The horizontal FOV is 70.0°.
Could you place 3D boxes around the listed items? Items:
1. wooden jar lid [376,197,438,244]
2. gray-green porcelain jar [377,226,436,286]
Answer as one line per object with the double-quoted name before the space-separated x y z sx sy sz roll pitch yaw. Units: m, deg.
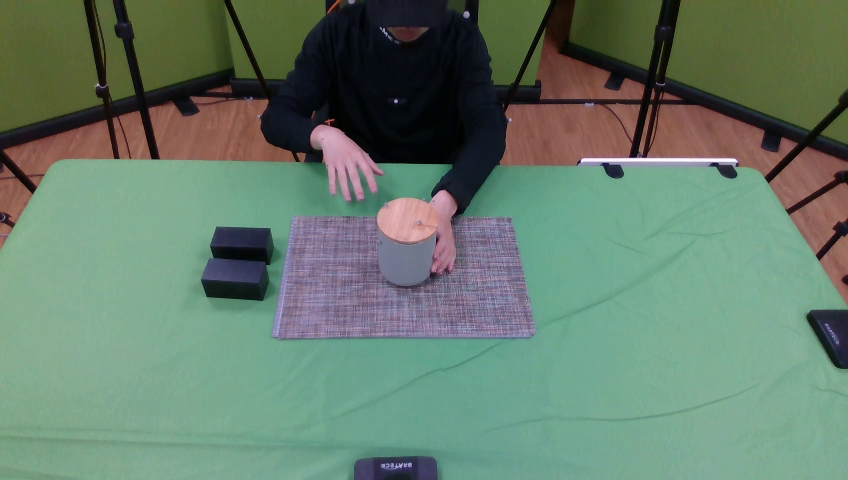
"wooden jar lid" -0.029 -0.031 1.060 0.108 0.021 0.107 2 47 -2
"gray-green porcelain jar" -0.033 0.014 1.105 0.106 0.127 0.105 2 46 -2
